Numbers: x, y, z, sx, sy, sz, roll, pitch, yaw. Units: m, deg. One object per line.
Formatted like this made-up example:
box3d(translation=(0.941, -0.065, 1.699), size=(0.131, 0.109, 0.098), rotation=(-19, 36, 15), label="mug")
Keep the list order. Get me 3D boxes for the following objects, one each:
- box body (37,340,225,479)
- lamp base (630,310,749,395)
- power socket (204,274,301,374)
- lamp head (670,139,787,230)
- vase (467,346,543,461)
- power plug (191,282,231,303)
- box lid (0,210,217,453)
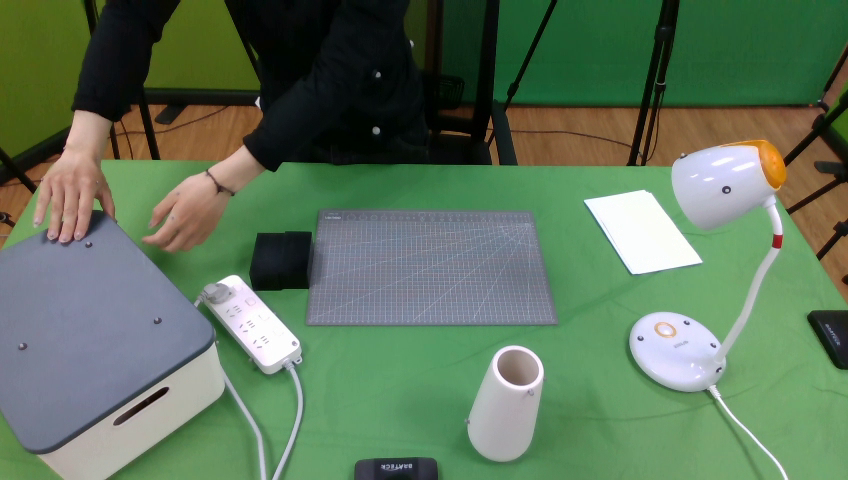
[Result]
box3d(translation=(-0.504, 0.154, 0.917), size=(0.362, 0.161, 0.254), rotation=(36, 54, 27), label="box body")
box3d(translation=(0.447, 0.142, 0.984), size=(0.161, 0.181, 0.178), rotation=(-24, 55, -24), label="lamp base")
box3d(translation=(-0.297, 0.140, 1.035), size=(0.072, 0.033, 0.225), rotation=(-32, 57, -29), label="power socket")
box3d(translation=(0.415, -0.079, 0.812), size=(0.113, 0.123, 0.112), rotation=(12, 70, -37), label="lamp head")
box3d(translation=(0.116, 0.234, 0.861), size=(0.098, 0.201, 0.097), rotation=(1, 47, -1), label="vase")
box3d(translation=(-0.368, 0.097, 1.039), size=(0.072, 0.053, 0.035), rotation=(-25, 56, -20), label="power plug")
box3d(translation=(-0.502, 0.102, 0.865), size=(0.369, 0.015, 0.263), rotation=(36, 53, 27), label="box lid")
